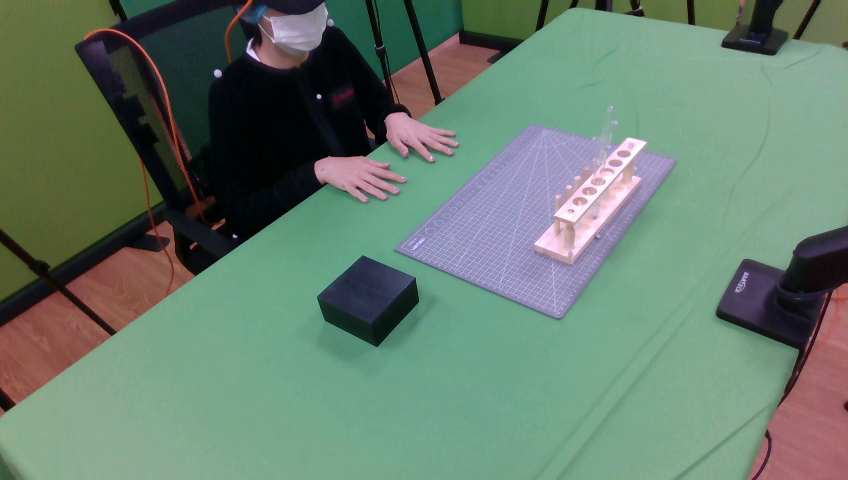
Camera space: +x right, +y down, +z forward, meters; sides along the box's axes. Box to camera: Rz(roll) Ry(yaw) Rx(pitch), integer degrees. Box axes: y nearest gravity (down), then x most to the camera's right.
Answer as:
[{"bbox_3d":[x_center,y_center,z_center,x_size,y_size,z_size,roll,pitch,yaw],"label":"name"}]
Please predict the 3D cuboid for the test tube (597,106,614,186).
[{"bbox_3d":[0.295,-0.150,0.984,0.017,0.151,0.017,-4,41,4],"label":"test tube"}]

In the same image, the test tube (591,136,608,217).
[{"bbox_3d":[0.264,-0.092,0.912,0.017,0.151,0.017,-5,44,6],"label":"test tube"}]

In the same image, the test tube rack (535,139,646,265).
[{"bbox_3d":[0.268,-0.071,0.964,0.066,0.085,0.243,23,49,32],"label":"test tube rack"}]
